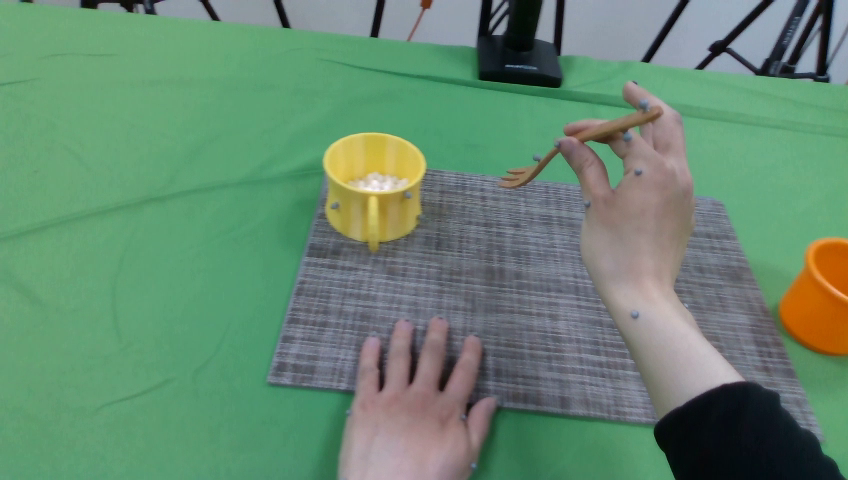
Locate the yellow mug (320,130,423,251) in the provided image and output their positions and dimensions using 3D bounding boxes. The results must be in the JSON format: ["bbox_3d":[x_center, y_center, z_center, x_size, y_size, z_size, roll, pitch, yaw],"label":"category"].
[{"bbox_3d":[-0.052,-0.045,0.601,0.100,0.064,0.129,2,45,-6],"label":"yellow mug"}]

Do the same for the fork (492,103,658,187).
[{"bbox_3d":[0.105,-0.069,0.464,0.019,0.207,0.028,45,71,-7],"label":"fork"}]
